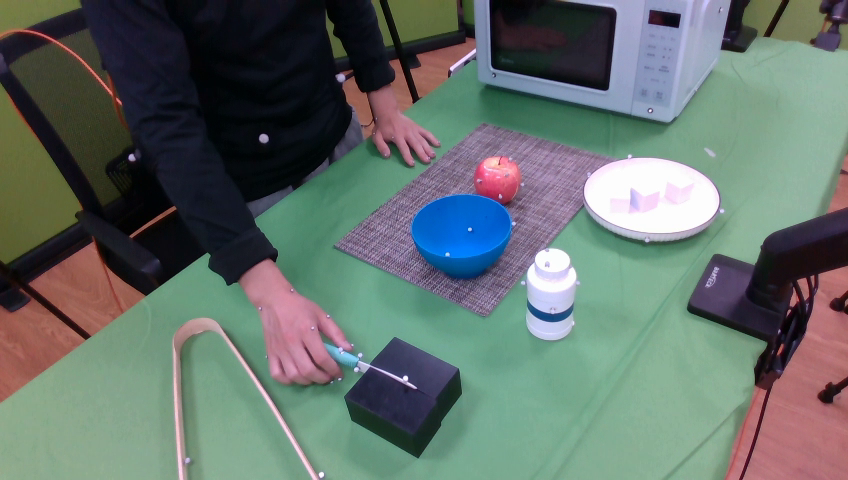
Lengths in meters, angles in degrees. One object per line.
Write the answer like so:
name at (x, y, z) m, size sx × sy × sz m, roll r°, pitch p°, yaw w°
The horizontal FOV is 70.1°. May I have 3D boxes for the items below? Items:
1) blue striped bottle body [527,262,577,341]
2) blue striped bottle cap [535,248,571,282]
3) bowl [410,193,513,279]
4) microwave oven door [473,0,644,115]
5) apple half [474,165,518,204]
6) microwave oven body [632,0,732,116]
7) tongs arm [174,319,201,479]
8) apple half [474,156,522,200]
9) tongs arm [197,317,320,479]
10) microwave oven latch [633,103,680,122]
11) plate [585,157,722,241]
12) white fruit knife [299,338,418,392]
blue striped bottle body at (0.165, 0.070, 0.786) m, size 0.063 × 0.121 × 0.063 m, roll -4°, pitch 41°, yaw 4°
blue striped bottle cap at (0.161, 0.031, 0.753) m, size 0.044 × 0.021 × 0.044 m, roll -4°, pitch 42°, yaw 4°
bowl at (0.058, 0.005, 0.905) m, size 0.151 × 0.077 × 0.150 m, roll -4°, pitch 40°, yaw 4°
microwave oven door at (0.257, -0.396, 1.199) m, size 0.353 × 0.245 × 0.039 m, roll 21°, pitch 48°, yaw 29°
apple half at (0.115, -0.084, 1.005) m, size 0.081 × 0.081 × 0.033 m, roll 11°, pitch 41°, yaw 20°
microwave oven body at (0.377, -0.462, 1.267) m, size 0.438 × 0.261 × 0.327 m, roll 21°, pitch 49°, yaw 30°
tongs arm at (-0.272, 0.234, 0.723) m, size 0.051 × 0.026 × 0.381 m, roll -19°, pitch 40°, yaw -15°
apple half at (0.130, -0.108, 1.032) m, size 0.080 × 0.075 × 0.053 m, roll 8°, pitch 40°, yaw 22°
tongs arm at (-0.199, 0.207, 0.750) m, size 0.028 × 0.028 × 0.384 m, roll -31°, pitch 45°, yaw -22°
microwave oven latch at (0.444, -0.249, 1.157) m, size 0.078 × 0.029 × 0.030 m, roll 21°, pitch 49°, yaw 30°
plate at (0.367, -0.063, 0.979) m, size 0.207 × 0.039 × 0.206 m, roll -4°, pitch 40°, yaw 4°
white fruit knife at (-0.087, 0.156, 0.762) m, size 0.206 × 0.027 × 0.016 m, roll 11°, pitch 43°, yaw 36°
